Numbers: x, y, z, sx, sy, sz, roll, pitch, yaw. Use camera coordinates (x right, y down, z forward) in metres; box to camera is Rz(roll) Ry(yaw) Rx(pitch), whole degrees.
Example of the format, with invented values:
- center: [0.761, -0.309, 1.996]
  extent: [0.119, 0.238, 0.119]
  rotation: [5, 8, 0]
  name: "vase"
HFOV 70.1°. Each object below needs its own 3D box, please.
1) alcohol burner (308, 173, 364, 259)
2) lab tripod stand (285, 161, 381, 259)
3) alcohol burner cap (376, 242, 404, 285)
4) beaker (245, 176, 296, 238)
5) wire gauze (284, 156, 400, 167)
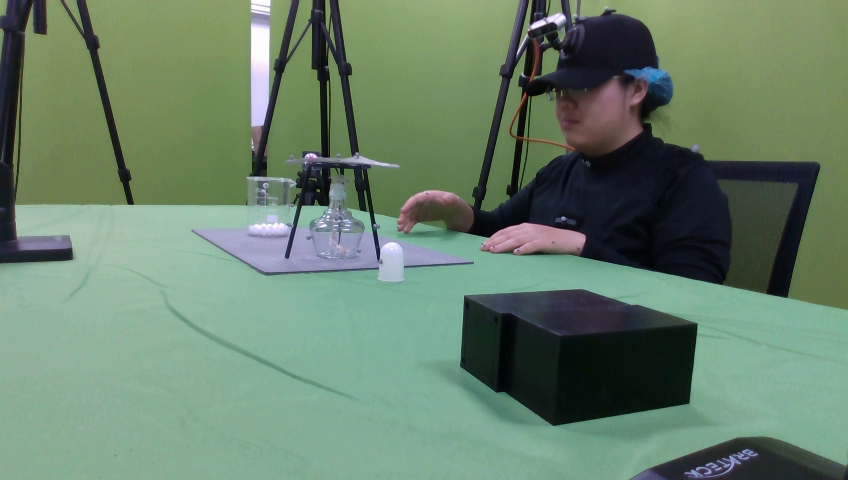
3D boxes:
- center: [-0.121, -0.033, 0.843]
  extent: [0.078, 0.119, 0.078]
  rotation: [3, 5, 0]
  name: "alcohol burner"
- center: [-0.123, -0.043, 0.842]
  extent: [0.148, 0.131, 0.148]
  rotation: [3, 9, 0]
  name: "lab tripod stand"
- center: [-0.039, 0.026, 0.710]
  extent: [0.034, 0.048, 0.034]
  rotation: [3, 6, 0]
  name: "alcohol burner cap"
- center: [-0.263, -0.057, 1.034]
  extent: [0.084, 0.100, 0.074]
  rotation: [1, 8, -17]
  name: "beaker"
- center: [-0.115, -0.109, 0.835]
  extent: [0.126, 0.011, 0.121]
  rotation: [-3, 10, -30]
  name: "wire gauze"
